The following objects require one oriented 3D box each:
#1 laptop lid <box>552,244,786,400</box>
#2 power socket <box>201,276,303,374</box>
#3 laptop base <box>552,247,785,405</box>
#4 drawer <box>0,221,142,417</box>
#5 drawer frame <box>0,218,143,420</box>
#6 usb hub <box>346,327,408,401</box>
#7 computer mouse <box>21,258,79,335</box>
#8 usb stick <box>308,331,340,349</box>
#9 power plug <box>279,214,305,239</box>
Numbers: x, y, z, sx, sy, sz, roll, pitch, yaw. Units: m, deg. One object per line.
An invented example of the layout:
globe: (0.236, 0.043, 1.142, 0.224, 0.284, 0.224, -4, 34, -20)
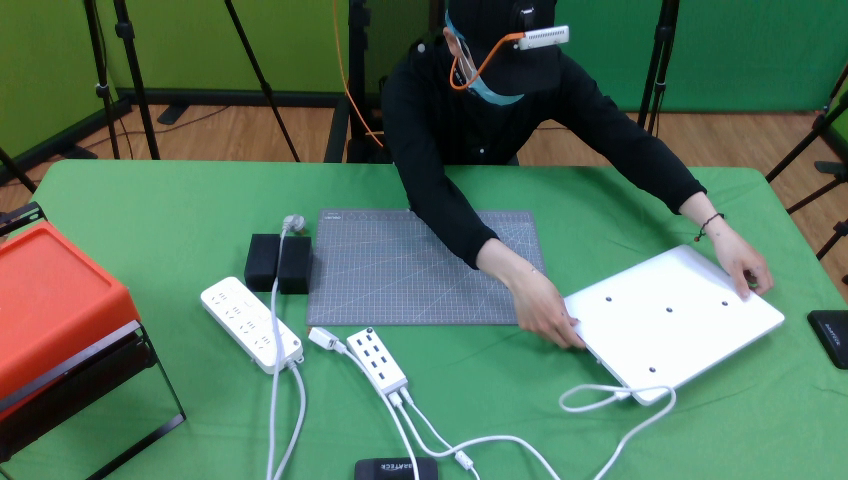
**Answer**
laptop lid: (0.432, 0.126, 1.073, 0.357, 0.013, 0.240, -19, 45, -22)
power socket: (-0.296, 0.141, 1.034, 0.225, 0.033, 0.072, 37, 55, 27)
laptop base: (0.433, 0.138, 1.080, 0.355, 0.023, 0.234, -20, 44, -24)
drawer: (-0.516, 0.095, 0.780, 0.193, 0.073, 0.211, 32, 53, 23)
drawer frame: (-0.518, 0.096, 0.777, 0.201, 0.083, 0.213, 30, 52, 22)
usb hub: (-0.078, 0.202, 0.998, 0.049, 0.025, 0.124, -23, 53, -24)
computer mouse: (-0.505, 0.073, 0.819, 0.063, 0.041, 0.116, -6, 57, -19)
usb stick: (-0.174, 0.167, 1.023, 0.059, 0.027, 0.021, 8, 90, 24)
power plug: (-0.261, -0.020, 1.185, 0.035, 0.053, 0.072, 11, 57, 32)
